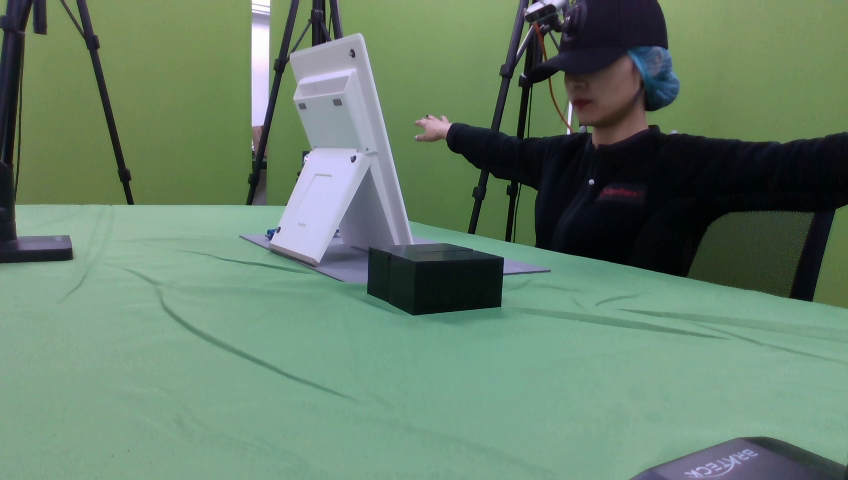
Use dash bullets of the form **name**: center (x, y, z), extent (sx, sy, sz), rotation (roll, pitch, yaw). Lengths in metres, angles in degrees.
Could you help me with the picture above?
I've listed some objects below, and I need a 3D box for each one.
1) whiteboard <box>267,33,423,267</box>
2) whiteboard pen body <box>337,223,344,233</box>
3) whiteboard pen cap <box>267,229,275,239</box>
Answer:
- **whiteboard**: center (-0.153, -0.098, 0.819), extent (0.144, 0.305, 0.216), rotation (-25, 21, -29)
- **whiteboard pen body**: center (-0.195, -0.016, 1.034), extent (0.141, 0.017, 0.017), rotation (-6, 11, -39)
- **whiteboard pen cap**: center (-0.240, -0.011, 0.996), extent (0.033, 0.018, 0.018), rotation (-5, 10, -38)
